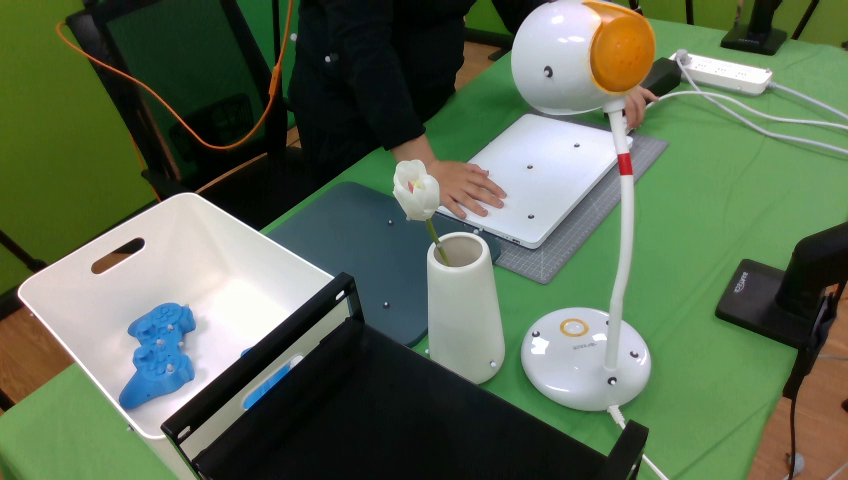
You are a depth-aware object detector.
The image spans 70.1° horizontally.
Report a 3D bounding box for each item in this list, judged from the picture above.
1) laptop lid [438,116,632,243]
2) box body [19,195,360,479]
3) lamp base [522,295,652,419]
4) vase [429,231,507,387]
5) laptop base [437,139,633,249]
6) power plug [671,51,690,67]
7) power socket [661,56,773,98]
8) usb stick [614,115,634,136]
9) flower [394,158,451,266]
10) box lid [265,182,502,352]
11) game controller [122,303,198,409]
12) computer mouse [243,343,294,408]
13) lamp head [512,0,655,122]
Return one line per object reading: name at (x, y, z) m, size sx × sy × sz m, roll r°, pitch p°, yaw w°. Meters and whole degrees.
laptop lid at (0.190, -0.125, 1.082) m, size 0.239 × 0.013 × 0.358 m, roll 23°, pitch 48°, yaw 35°
box body at (-0.287, 0.118, 0.772) m, size 0.361 × 0.161 × 0.255 m, roll 26°, pitch 50°, yaw 33°
lamp base at (0.201, 0.095, 0.710) m, size 0.161 × 0.181 × 0.178 m, roll -16°, pitch 43°, yaw -10°
vase at (0.051, 0.087, 0.728) m, size 0.098 × 0.201 × 0.097 m, roll -3°, pitch 40°, yaw 3°
laptop base at (0.194, -0.117, 1.087) m, size 0.233 × 0.023 × 0.355 m, roll 20°, pitch 48°, yaw 35°
power plug at (0.541, -0.379, 1.302) m, size 0.073 × 0.053 × 0.035 m, roll -30°, pitch 47°, yaw -21°
power socket at (0.620, -0.352, 1.289) m, size 0.225 × 0.033 × 0.072 m, roll 26°, pitch 51°, yaw 33°
usb stick at (0.378, -0.211, 1.152) m, size 0.021 × 0.027 × 0.059 m, roll 23°, pitch 57°, yaw 33°
flower at (0.029, 0.035, 0.664) m, size 0.043 × 0.364 × 0.038 m, roll 36°, pitch 73°, yaw 30°
box lid at (-0.086, 0.023, 0.971) m, size 0.368 × 0.015 × 0.264 m, roll 23°, pitch 49°, yaw 31°
game controller at (-0.363, 0.149, 0.828) m, size 0.097 × 0.052 × 0.154 m, roll -14°, pitch 41°, yaw -9°
computer mouse at (-0.199, 0.178, 0.777) m, size 0.063 × 0.041 × 0.116 m, roll -10°, pitch 41°, yaw -7°
lamp head at (0.156, -0.168, 0.563) m, size 0.113 × 0.113 × 0.122 m, roll -18°, pitch 23°, yaw -12°
